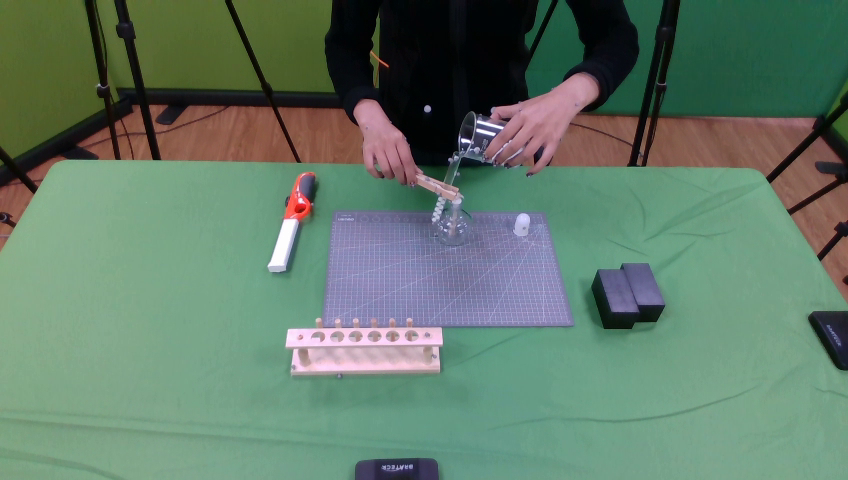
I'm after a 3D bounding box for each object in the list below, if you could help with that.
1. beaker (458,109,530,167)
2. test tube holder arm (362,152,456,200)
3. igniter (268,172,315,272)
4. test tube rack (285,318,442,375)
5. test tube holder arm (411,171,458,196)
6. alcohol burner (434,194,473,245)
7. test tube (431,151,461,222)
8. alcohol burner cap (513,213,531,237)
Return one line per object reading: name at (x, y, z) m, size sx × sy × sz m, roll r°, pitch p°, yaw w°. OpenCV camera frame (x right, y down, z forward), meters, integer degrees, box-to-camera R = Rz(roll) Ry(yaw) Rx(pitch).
beaker at (0.112, -0.159, 0.973) m, size 0.100 × 0.084 × 0.073 m, roll 11°, pitch 52°, yaw -15°
test tube holder arm at (-0.027, -0.112, 1.049) m, size 0.178 × 0.015 × 0.013 m, roll 25°, pitch 35°, yaw 9°
igniter at (-0.263, -0.045, 1.219) m, size 0.057 × 0.025 × 0.275 m, roll -2°, pitch 45°, yaw 8°
test tube rack at (-0.095, 0.168, 0.986) m, size 0.242 × 0.085 × 0.066 m, roll 0°, pitch 46°, yaw -4°
test tube holder arm at (0.016, -0.097, 1.048) m, size 0.088 × 0.015 × 0.010 m, roll 21°, pitch 35°, yaw 3°
alcohol burner at (0.059, -0.046, 1.179) m, size 0.078 × 0.120 × 0.077 m, roll 1°, pitch 48°, yaw -1°
test tube at (0.037, -0.089, 1.040) m, size 0.017 × 0.151 × 0.017 m, roll 11°, pitch 40°, yaw -9°
alcohol burner cap at (0.200, -0.034, 1.227) m, size 0.034 × 0.048 × 0.033 m, roll 1°, pitch 45°, yaw -1°
